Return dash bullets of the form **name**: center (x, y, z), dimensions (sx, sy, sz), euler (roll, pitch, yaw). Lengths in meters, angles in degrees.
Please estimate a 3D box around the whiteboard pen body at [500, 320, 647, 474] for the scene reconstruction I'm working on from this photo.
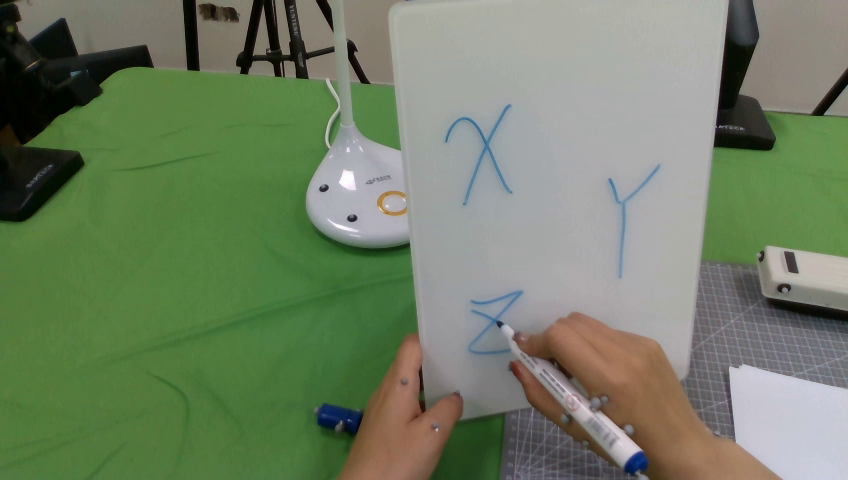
- **whiteboard pen body**: center (0.088, 0.093, 0.389), dimensions (0.017, 0.017, 0.139), euler (-20, 39, -20)

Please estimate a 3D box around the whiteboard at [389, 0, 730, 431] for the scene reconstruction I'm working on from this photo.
- **whiteboard**: center (0.088, -0.034, 0.480), dimensions (0.217, 0.307, 0.142), euler (-8, 23, -7)

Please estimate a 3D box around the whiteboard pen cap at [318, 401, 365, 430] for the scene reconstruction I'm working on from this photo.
- **whiteboard pen cap**: center (-0.063, 0.135, 0.465), dimensions (0.033, 0.018, 0.018), euler (7, 42, 11)

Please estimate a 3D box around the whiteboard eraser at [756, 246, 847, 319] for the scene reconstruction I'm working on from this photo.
- **whiteboard eraser**: center (0.363, 0.041, 0.544), dimensions (0.112, 0.042, 0.055), euler (11, 44, 13)

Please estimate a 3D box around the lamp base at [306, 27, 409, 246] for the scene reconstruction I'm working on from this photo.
- **lamp base**: center (-0.058, -0.113, 0.621), dimensions (0.161, 0.182, 0.177), euler (-28, 46, -27)
